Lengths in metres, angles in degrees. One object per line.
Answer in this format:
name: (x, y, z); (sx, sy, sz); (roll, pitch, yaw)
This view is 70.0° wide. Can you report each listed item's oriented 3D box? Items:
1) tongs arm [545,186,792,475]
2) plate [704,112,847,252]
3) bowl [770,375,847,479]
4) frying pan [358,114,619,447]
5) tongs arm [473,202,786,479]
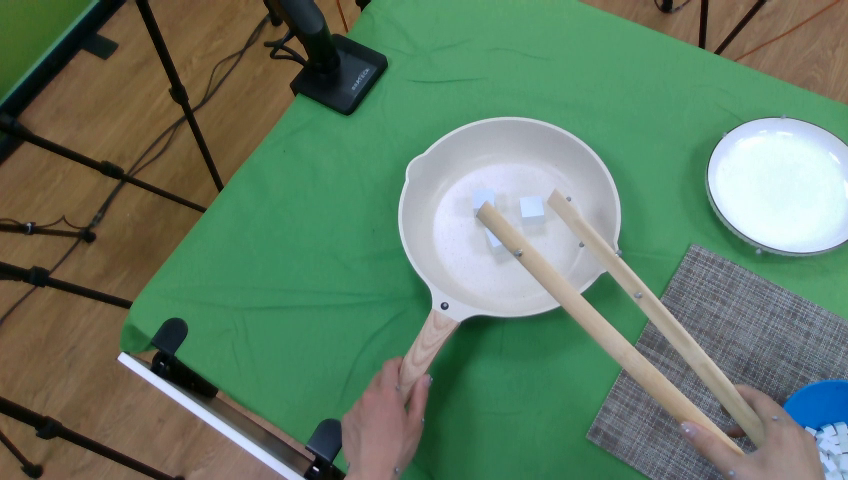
tongs arm: (0.239, 0.079, 0.651); (0.051, 0.026, 0.381); (-11, 52, -39)
plate: (0.486, -0.076, 0.822); (0.207, 0.039, 0.206); (-2, 68, 6)
bowl: (0.454, 0.232, 0.675); (0.151, 0.077, 0.150); (-2, 68, 5)
frying pan: (0.056, 0.046, 0.783); (0.305, 0.103, 0.486); (28, 65, 17)
tongs arm: (0.185, 0.093, 0.607); (0.384, 0.028, 0.028); (46, 38, 21)
